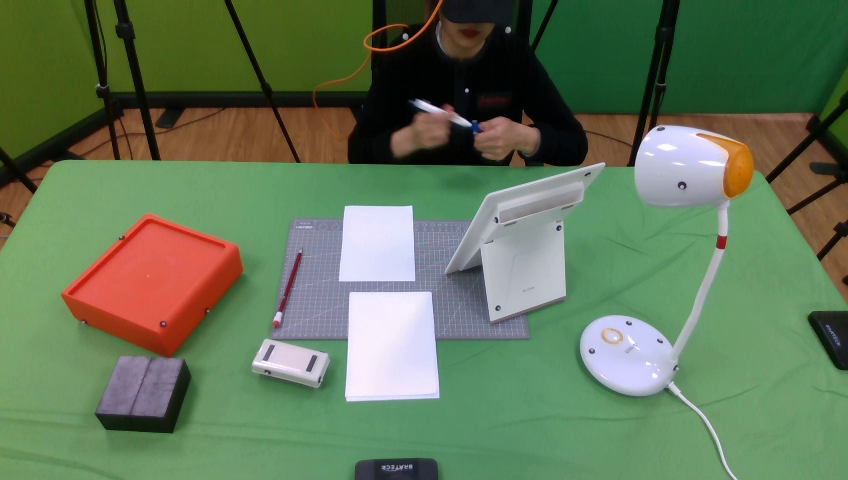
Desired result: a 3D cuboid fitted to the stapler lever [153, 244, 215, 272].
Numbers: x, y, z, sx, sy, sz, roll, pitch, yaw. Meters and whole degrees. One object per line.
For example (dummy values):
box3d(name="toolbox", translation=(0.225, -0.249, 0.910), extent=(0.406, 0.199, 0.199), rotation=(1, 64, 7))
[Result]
box3d(name="stapler lever", translation=(-0.430, 0.025, 1.088), extent=(0.118, 0.040, 0.027), rotation=(16, 34, 13))

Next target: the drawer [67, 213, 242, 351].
box3d(name="drawer", translation=(-0.461, 0.068, 1.057), extent=(0.194, 0.073, 0.211), rotation=(19, 48, 13))

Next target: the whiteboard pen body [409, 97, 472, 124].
box3d(name="whiteboard pen body", translation=(0.035, -0.265, 1.253), extent=(0.141, 0.017, 0.017), rotation=(18, 44, -16))

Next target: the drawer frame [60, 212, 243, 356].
box3d(name="drawer frame", translation=(-0.462, 0.070, 1.053), extent=(0.201, 0.083, 0.213), rotation=(18, 48, 12))

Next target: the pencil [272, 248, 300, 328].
box3d(name="pencil", translation=(-0.248, 0.081, 1.104), extent=(0.012, 0.012, 0.193), rotation=(6, 44, 1))

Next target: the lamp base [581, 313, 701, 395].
box3d(name="lamp base", translation=(0.361, 0.144, 0.973), extent=(0.178, 0.181, 0.160), rotation=(34, 53, 23))

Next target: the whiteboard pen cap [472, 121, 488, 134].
box3d(name="whiteboard pen cap", translation=(0.117, -0.238, 1.283), extent=(0.033, 0.018, 0.018), rotation=(21, 40, -26))

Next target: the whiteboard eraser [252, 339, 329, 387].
box3d(name="whiteboard eraser", translation=(-0.215, 0.199, 0.976), extent=(0.112, 0.042, 0.055), rotation=(12, 45, 7))

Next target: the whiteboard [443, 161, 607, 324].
box3d(name="whiteboard", translation=(0.185, 0.026, 1.028), extent=(0.217, 0.306, 0.143), rotation=(-15, 68, -18))

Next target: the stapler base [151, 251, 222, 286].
box3d(name="stapler base", translation=(-0.432, 0.047, 1.103), extent=(0.130, 0.024, 0.041), rotation=(17, 34, 12))

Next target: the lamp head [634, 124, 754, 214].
box3d(name="lamp head", translation=(0.351, -0.089, 0.775), extent=(0.112, 0.113, 0.122), rotation=(-30, 30, -28))
